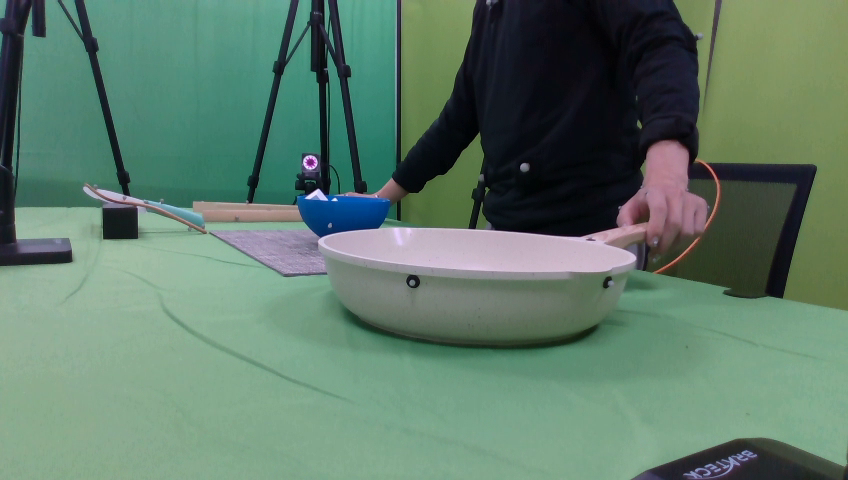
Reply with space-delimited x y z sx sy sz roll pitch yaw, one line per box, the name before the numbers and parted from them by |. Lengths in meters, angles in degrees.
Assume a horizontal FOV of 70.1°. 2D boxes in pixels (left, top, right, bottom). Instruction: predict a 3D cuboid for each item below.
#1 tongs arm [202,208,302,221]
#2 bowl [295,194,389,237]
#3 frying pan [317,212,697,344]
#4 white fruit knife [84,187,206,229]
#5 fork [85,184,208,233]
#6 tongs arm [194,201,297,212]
tongs arm | -0.299 -0.059 1.354 0.390 0.028 0.028 -2 5 -36
bowl | -0.132 -0.032 0.980 0.151 0.077 0.151 2 7 0
frying pan | 0.133 0.013 0.629 0.490 0.102 0.305 -12 14 -31
white fruit knife | -0.488 -0.059 1.071 0.208 0.027 0.016 17 4 -33
fork | -0.462 -0.051 1.019 0.208 0.018 0.028 22 -10 -37
tongs arm | -0.335 -0.072 1.424 0.387 0.026 0.050 0 7 -23
